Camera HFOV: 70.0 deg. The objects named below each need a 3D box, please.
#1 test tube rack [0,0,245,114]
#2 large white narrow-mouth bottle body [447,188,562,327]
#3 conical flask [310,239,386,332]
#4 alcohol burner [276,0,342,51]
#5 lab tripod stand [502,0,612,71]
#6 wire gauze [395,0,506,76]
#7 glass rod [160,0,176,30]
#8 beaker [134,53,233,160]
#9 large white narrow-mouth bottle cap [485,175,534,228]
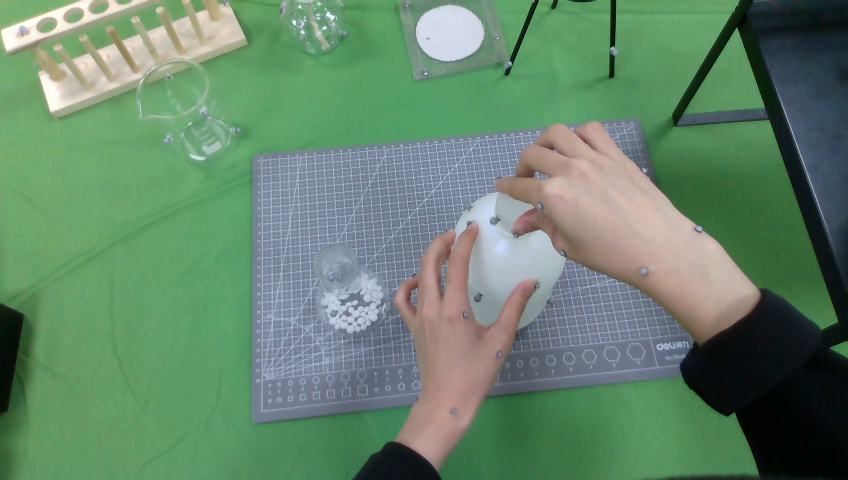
[{"bbox_3d":[-0.346,-0.241,0.709,0.242,0.086,0.066,-25,70,-9],"label":"test tube rack"},{"bbox_3d":[0.071,0.009,0.546,0.102,0.196,0.101,-1,68,3],"label":"large white narrow-mouth bottle body"},{"bbox_3d":[-0.078,0.038,0.573,0.075,0.123,0.075,0,68,1],"label":"conical flask"},{"bbox_3d":[-0.137,-0.281,0.710,0.078,0.120,0.077,0,66,0],"label":"alcohol burner"},{"bbox_3d":[0.162,-0.264,0.690,0.148,0.132,0.147,1,67,-1],"label":"lab tripod stand"},{"bbox_3d":[0.032,-0.267,0.759,0.121,0.011,0.124,-10,68,-5],"label":"wire gauze"},{"bbox_3d":[-0.303,-0.303,0.662,0.008,0.201,0.008,2,66,-3],"label":"glass rod"},{"bbox_3d":[-0.259,-0.138,0.660,0.073,0.101,0.084,39,74,15],"label":"beaker"},{"bbox_3d":[0.065,-0.028,0.457,0.038,0.024,0.037,-1,68,3],"label":"large white narrow-mouth bottle cap"}]
